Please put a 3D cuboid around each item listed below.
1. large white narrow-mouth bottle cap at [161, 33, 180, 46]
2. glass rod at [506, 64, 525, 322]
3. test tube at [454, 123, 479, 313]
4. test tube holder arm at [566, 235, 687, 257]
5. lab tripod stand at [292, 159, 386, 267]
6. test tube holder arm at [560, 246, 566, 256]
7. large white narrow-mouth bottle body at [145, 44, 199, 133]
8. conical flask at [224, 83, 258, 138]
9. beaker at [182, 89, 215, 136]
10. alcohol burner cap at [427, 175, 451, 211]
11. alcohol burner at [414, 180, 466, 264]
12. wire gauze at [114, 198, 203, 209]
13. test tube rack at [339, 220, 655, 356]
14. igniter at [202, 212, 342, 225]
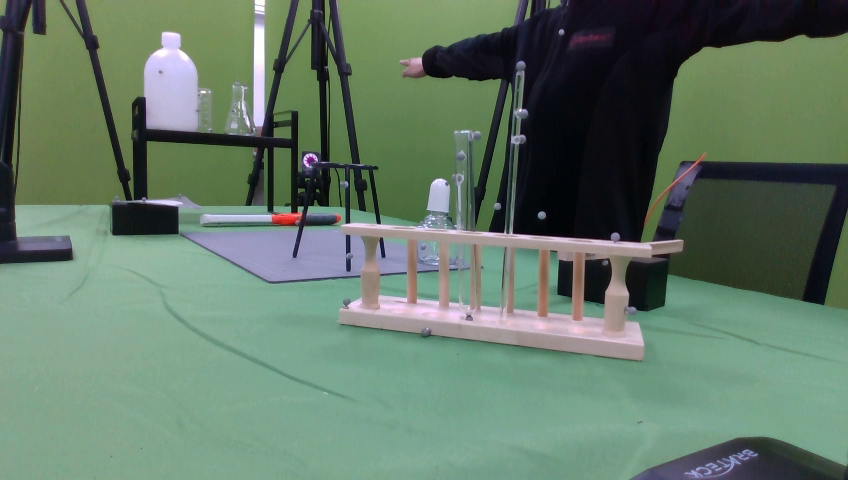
[{"bbox_3d":[-0.511,-0.403,1.220,0.038,0.024,0.037,2,7,0],"label":"large white narrow-mouth bottle cap"},{"bbox_3d":[0.069,-0.030,0.458,0.008,0.199,0.008,0,15,0],"label":"glass rod"},{"bbox_3d":[0.034,-0.016,0.477,0.017,0.150,0.017,-2,9,1],"label":"test tube"},{"bbox_3d":[0.215,0.006,0.630,0.179,0.015,0.013,-3,9,-31],"label":"test tube holder arm"},{"bbox_3d":[-0.104,-0.039,0.798,0.148,0.131,0.148,2,5,0],"label":"lab tripod stand"},{"bbox_3d":[0.173,0.007,0.611,0.088,0.015,0.010,-3,9,-30],"label":"test tube holder arm"},{"bbox_3d":[-0.513,-0.318,1.231,0.102,0.194,0.102,2,7,0],"label":"large white narrow-mouth bottle body"},{"bbox_3d":[-0.422,-0.299,1.395,0.075,0.122,0.075,2,7,0],"label":"conical flask"},{"bbox_3d":[-0.511,-0.285,1.353,0.084,0.100,0.073,-2,8,-25],"label":"beaker"},{"bbox_3d":[0.023,-0.064,0.822,0.034,0.048,0.034,7,5,0],"label":"alcohol burner cap"},{"bbox_3d":[0.021,-0.028,0.826,0.078,0.119,0.078,0,6,0],"label":"alcohol burner"},{"bbox_3d":[-0.447,-0.062,1.015,0.126,0.011,0.121,-1,8,-31],"label":"wire gauze"},{"bbox_3d":[0.056,0.032,0.495,0.242,0.085,0.067,4,7,15],"label":"test tube rack"},{"bbox_3d":[-0.298,-0.044,1.216,0.278,0.025,0.057,-3,-2,-32],"label":"igniter"}]
